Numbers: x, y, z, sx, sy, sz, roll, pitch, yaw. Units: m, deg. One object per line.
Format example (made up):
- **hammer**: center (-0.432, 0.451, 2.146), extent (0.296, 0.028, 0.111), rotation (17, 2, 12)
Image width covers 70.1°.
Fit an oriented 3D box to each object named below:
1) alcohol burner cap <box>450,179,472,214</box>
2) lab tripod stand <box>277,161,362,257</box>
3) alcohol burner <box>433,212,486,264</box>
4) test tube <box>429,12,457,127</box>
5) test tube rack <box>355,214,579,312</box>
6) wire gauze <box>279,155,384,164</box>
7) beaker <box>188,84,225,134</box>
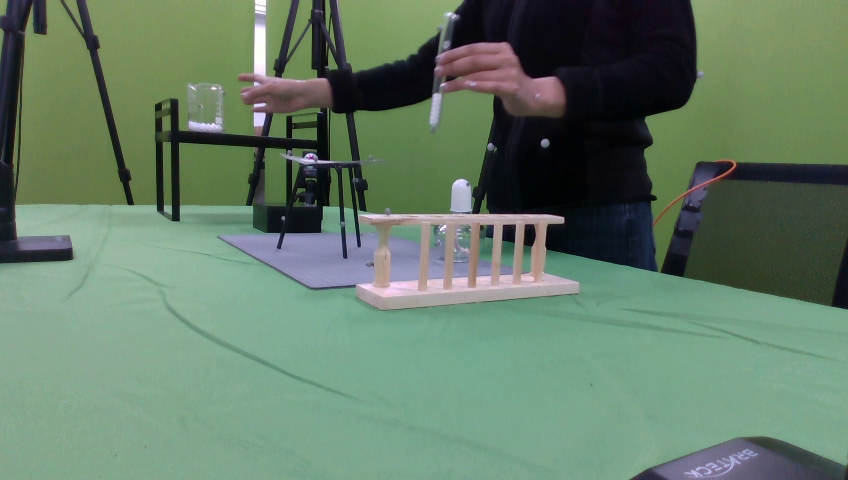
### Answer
- **alcohol burner cap**: center (0.053, -0.063, 0.858), extent (0.034, 0.048, 0.034), rotation (1, 13, 0)
- **lab tripod stand**: center (-0.143, -0.049, 0.884), extent (0.148, 0.131, 0.148), rotation (1, 9, 0)
- **alcohol burner**: center (0.051, -0.027, 0.863), extent (0.078, 0.119, 0.078), rotation (2, 6, 0)
- **test tube**: center (0.025, -0.228, 0.815), extent (0.017, 0.150, 0.017), rotation (9, 13, -2)
- **test tube rack**: center (0.053, 0.018, 0.640), extent (0.243, 0.085, 0.066), rotation (-1, 8, -29)
- **wire gauze**: center (-0.134, -0.114, 0.875), extent (0.122, 0.011, 0.124), rotation (-1, 9, -30)
- **beaker**: center (-0.459, -0.274, 1.270), extent (0.074, 0.100, 0.084), rotation (3, 8, 7)
